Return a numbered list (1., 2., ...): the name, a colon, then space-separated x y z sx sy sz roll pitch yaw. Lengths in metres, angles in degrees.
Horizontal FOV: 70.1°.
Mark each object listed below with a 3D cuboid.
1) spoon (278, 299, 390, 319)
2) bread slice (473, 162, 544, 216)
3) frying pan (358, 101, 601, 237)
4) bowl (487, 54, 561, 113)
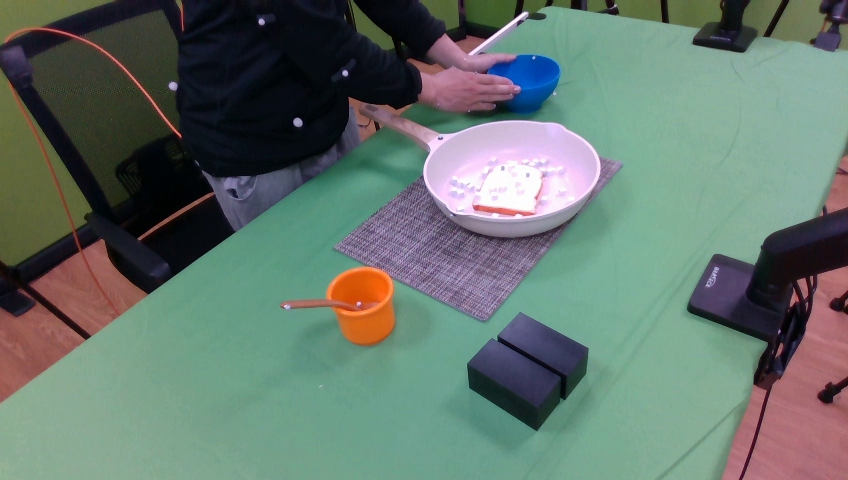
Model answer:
1. spoon: -0.113 0.087 0.787 0.041 0.021 0.195 30 8 36
2. bread slice: 0.150 -0.089 1.042 0.106 0.018 0.134 7 45 16
3. frying pan: 0.067 -0.153 1.067 0.484 0.103 0.308 32 52 26
4. bowl: 0.208 -0.320 1.264 0.151 0.077 0.150 -4 42 4
